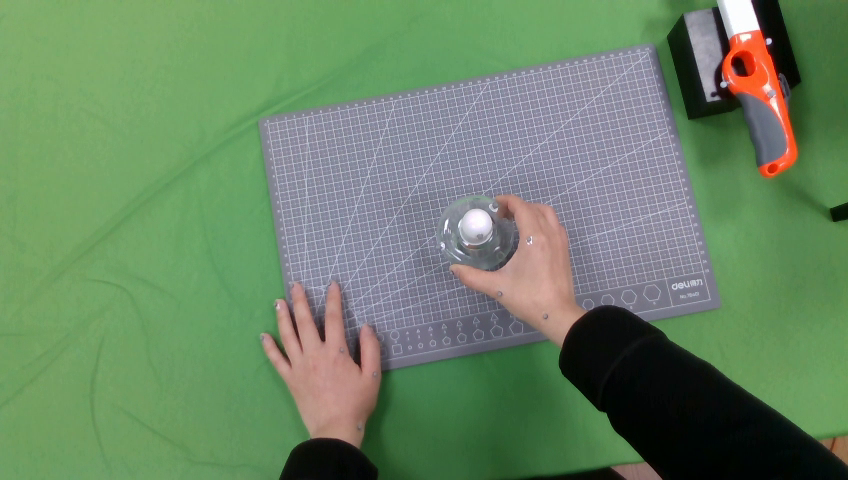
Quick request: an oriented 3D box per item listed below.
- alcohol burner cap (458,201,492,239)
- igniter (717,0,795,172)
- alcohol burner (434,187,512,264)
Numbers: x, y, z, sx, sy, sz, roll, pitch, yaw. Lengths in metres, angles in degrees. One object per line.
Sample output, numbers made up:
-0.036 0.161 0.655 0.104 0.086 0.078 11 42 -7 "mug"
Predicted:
0.047 -0.020 0.557 0.034 0.048 0.034 0 84 3 "alcohol burner cap"
0.324 -0.203 0.613 0.057 0.025 0.275 -10 80 2 "igniter"
0.048 -0.016 0.587 0.078 0.119 0.077 0 84 4 "alcohol burner"
